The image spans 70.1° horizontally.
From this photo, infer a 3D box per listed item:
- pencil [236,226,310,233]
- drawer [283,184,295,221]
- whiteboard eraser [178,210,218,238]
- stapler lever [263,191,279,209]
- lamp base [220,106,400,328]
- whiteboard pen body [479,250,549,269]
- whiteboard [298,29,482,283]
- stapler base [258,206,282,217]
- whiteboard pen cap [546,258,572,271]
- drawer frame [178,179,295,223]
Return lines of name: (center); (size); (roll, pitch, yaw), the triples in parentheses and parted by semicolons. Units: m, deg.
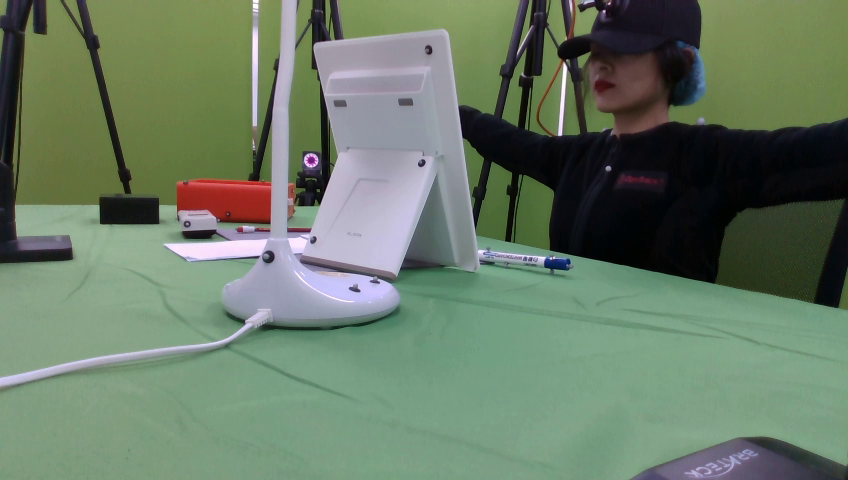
pencil: (-0.239, -0.017, 1.093); (0.195, 0.012, 0.012); (1, 7, -27)
drawer: (-0.394, -0.086, 1.317); (0.212, 0.073, 0.194); (1, 8, -7)
whiteboard eraser: (-0.380, -0.027, 1.014); (0.056, 0.042, 0.112); (0, 8, -25)
stapler lever: (-0.329, -0.085, 1.306); (0.027, 0.040, 0.118); (9, 2, -9)
lamp base: (-0.101, -0.023, 0.531); (0.160, 0.180, 0.179); (4, 10, 10)
whiteboard pen body: (0.130, 0.028, 0.827); (0.140, 0.017, 0.017); (7, 8, 38)
whiteboard: (-0.075, -0.082, 0.742); (0.216, 0.305, 0.144); (9, 29, 37)
stapler base: (-0.331, -0.064, 1.306); (0.041, 0.024, 0.130); (9, -2, -9)
whiteboard pen cap: (0.175, 0.032, 0.790); (0.033, 0.018, 0.018); (3, 7, 37)
drawer frame: (-0.397, -0.088, 1.315); (0.214, 0.082, 0.201); (1, 8, -7)
